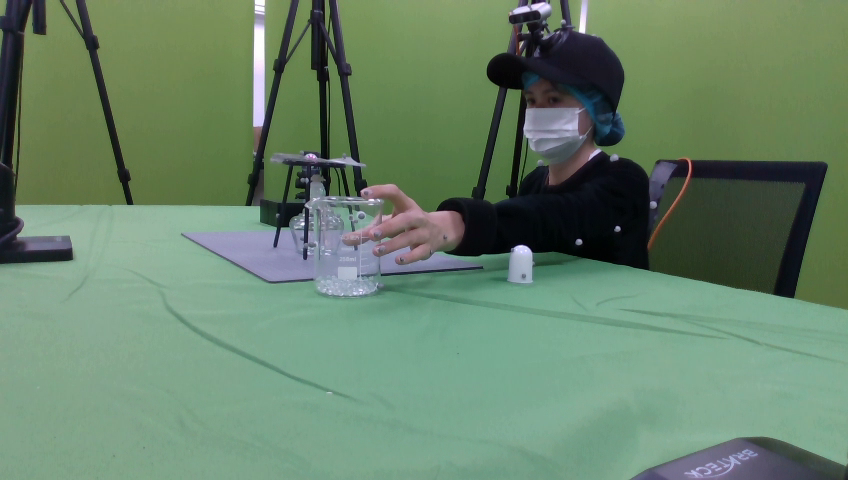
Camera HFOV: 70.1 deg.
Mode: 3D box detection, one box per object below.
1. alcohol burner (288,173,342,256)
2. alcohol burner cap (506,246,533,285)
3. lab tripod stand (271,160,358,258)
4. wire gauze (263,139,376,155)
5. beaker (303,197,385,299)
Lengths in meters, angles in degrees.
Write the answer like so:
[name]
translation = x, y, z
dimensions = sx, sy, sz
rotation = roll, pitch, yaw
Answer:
[alcohol burner]
translation = -0.157, -0.037, 0.871
dimensions = 0.078, 0.119, 0.078
rotation = 1, 6, 0
[alcohol burner cap]
translation = 0.119, 0.031, 0.740
dimensions = 0.034, 0.048, 0.034
rotation = 2, 8, 0
[lab tripod stand]
translation = -0.160, -0.048, 0.876
dimensions = 0.148, 0.131, 0.148
rotation = 3, 5, 0
[wire gauze]
translation = -0.151, -0.130, 0.869
dimensions = 0.122, 0.011, 0.124
rotation = -8, 5, -35
[beaker]
translation = -0.083, 0.007, 0.628
dimensions = 0.084, 0.100, 0.073
rotation = -1, 7, -20
